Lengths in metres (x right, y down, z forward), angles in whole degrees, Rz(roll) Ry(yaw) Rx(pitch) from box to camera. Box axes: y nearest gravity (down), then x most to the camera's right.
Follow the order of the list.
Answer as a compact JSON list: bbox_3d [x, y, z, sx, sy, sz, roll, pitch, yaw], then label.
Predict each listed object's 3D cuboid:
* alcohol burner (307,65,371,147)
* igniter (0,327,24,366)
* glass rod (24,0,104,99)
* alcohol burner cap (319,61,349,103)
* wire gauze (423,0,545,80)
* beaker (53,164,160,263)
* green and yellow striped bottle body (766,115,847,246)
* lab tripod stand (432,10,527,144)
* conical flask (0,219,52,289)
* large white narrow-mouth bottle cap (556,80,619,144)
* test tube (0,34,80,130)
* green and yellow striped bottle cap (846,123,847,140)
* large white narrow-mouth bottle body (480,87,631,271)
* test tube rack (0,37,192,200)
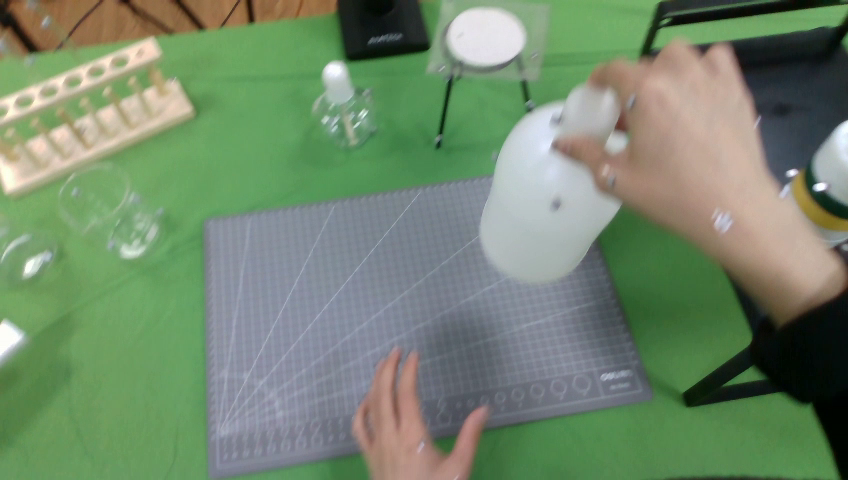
[{"bbox_3d":[-0.105,-0.168,0.732,0.078,0.120,0.077,0,61,0],"label":"alcohol burner"},{"bbox_3d":[-0.492,0.194,0.553,0.057,0.025,0.275,31,65,14],"label":"igniter"},{"bbox_3d":[-0.409,-0.214,0.702,0.008,0.201,0.008,-4,58,7],"label":"glass rod"},{"bbox_3d":[-0.107,-0.185,0.700,0.034,0.048,0.033,0,62,1],"label":"alcohol burner cap"},{"bbox_3d":[0.069,-0.230,0.672,0.121,0.011,0.124,10,65,4],"label":"wire gauze"},{"bbox_3d":[-0.346,-0.022,0.671,0.074,0.101,0.083,4,64,4],"label":"beaker"},{"bbox_3d":[0.318,-0.049,0.458,0.063,0.120,0.062,-1,63,2],"label":"green and yellow striped bottle body"},{"bbox_3d":[0.063,-0.196,0.731,0.148,0.132,0.147,0,62,0],"label":"lab tripod stand"},{"bbox_3d":[-0.469,-0.003,0.650,0.075,0.123,0.074,-1,63,1],"label":"conical flask"},{"bbox_3d":[0.104,-0.081,0.385,0.038,0.024,0.037,1,69,-2],"label":"large white narrow-mouth bottle cap"},{"bbox_3d":[-0.449,-0.179,0.703,0.017,0.151,0.017,-2,60,5],"label":"test tube"},{"bbox_3d":[0.316,-0.074,0.412,0.045,0.020,0.045,0,65,0],"label":"green and yellow striped bottle cap"},{"bbox_3d":[0.102,-0.050,0.467,0.102,0.196,0.101,1,69,-2],"label":"large white narrow-mouth bottle body"},{"bbox_3d":[-0.424,-0.149,0.744,0.242,0.086,0.066,-29,66,-13],"label":"test tube rack"}]
